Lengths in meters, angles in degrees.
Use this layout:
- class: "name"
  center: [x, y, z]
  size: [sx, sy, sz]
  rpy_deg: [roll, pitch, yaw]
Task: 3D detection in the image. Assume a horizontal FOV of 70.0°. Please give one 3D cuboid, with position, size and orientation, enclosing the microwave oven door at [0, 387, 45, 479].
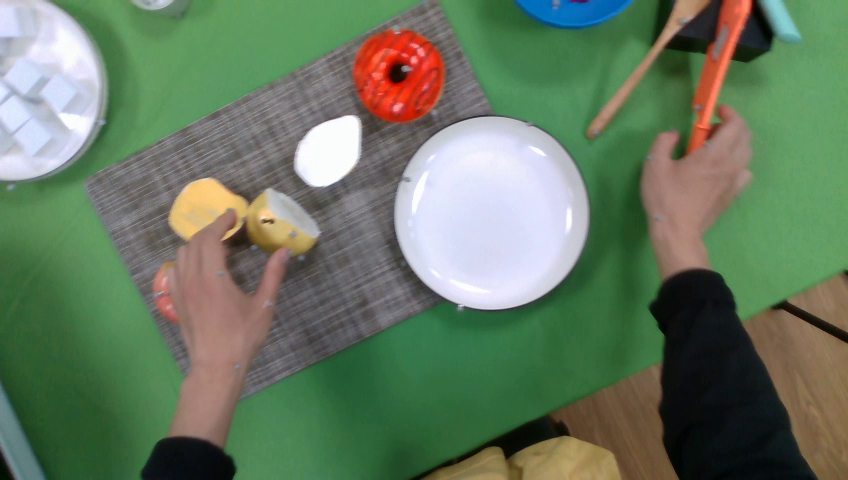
- class: "microwave oven door"
  center: [-0.480, 0.227, 0.574]
  size: [0.039, 0.243, 0.356]
  rpy_deg: [-24, 92, 4]

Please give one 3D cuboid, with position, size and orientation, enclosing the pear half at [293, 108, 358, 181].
- class: "pear half"
  center: [-0.101, -0.101, 0.657]
  size: [0.070, 0.031, 0.088]
  rpy_deg: [39, 85, 12]

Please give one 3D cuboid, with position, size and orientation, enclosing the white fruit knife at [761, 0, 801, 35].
- class: "white fruit knife"
  center: [0.316, -0.294, 0.592]
  size: [0.027, 0.016, 0.207]
  rpy_deg: [-25, 90, -25]

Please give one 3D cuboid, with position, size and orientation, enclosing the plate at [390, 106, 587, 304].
- class: "plate"
  center: [0.068, -0.037, 0.652]
  size: [0.209, 0.038, 0.209]
  rpy_deg: [0, 94, 2]

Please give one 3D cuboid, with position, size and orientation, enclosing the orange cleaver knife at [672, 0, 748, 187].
- class: "orange cleaver knife"
  center: [0.287, -0.160, 0.618]
  size: [0.012, 0.077, 0.213]
  rpy_deg: [10, 119, 7]

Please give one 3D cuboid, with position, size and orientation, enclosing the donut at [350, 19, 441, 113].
- class: "donut"
  center: [-0.030, -0.184, 0.643]
  size: [0.099, 0.048, 0.099]
  rpy_deg: [0, 95, 5]

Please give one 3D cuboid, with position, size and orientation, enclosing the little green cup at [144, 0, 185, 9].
- class: "little green cup"
  center: [-0.285, -0.282, 0.654]
  size: [0.061, 0.038, 0.061]
  rpy_deg: [0, 93, 3]

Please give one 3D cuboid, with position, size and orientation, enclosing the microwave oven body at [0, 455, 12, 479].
- class: "microwave oven body"
  center: [-0.630, 0.246, 0.586]
  size: [0.326, 0.260, 0.442]
  rpy_deg: [-24, 93, 3]

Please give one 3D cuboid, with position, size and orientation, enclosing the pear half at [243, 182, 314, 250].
- class: "pear half"
  center: [-0.160, -0.018, 0.626]
  size: [0.076, 0.110, 0.056]
  rpy_deg: [41, 94, 3]

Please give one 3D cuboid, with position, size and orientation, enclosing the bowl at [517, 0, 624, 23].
- class: "bowl"
  center: [0.146, -0.289, 0.617]
  size: [0.151, 0.077, 0.151]
  rpy_deg: [0, 94, 2]

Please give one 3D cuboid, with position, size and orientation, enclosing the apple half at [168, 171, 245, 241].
- class: "apple half"
  center: [-0.237, -0.031, 0.663]
  size: [0.081, 0.033, 0.081]
  rpy_deg: [2, 71, -7]

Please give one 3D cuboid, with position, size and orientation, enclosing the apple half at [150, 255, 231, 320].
- class: "apple half"
  center: [-0.254, 0.057, 0.653]
  size: [0.081, 0.074, 0.053]
  rpy_deg: [28, 98, -3]

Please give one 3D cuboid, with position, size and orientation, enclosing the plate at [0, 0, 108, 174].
- class: "plate"
  center: [-0.446, -0.175, 0.667]
  size: [0.207, 0.039, 0.207]
  rpy_deg: [0, 93, 2]

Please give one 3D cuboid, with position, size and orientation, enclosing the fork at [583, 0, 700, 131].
- class: "fork"
  center: [0.229, -0.196, 0.615]
  size: [0.028, 0.018, 0.208]
  rpy_deg: [32, 114, -7]
